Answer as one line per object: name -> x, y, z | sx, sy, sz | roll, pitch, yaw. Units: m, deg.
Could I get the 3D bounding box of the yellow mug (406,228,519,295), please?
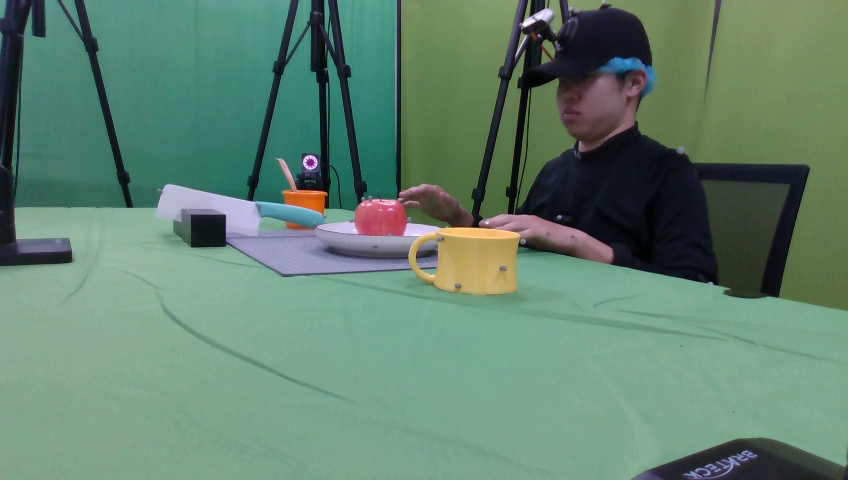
yellow mug -> 0.044, 0.022, 0.707 | 0.131, 0.064, 0.100 | 2, 7, 4

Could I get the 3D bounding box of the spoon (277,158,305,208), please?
spoon -> -0.272, -0.103, 1.260 | 0.042, 0.193, 0.021 | -5, -34, -33

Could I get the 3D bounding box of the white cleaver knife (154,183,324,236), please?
white cleaver knife -> -0.310, -0.042, 1.049 | 0.288, 0.066, 0.021 | 10, 5, -28

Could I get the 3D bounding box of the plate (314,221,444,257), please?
plate -> -0.067, -0.002, 0.948 | 0.209, 0.038, 0.209 | 3, 7, 0

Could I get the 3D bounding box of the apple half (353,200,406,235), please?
apple half -> -0.064, -0.023, 0.909 | 0.081, 0.074, 0.053 | 3, 11, -17

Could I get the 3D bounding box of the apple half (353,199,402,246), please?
apple half -> -0.076, -0.029, 0.946 | 0.081, 0.081, 0.032 | 0, 12, -18
